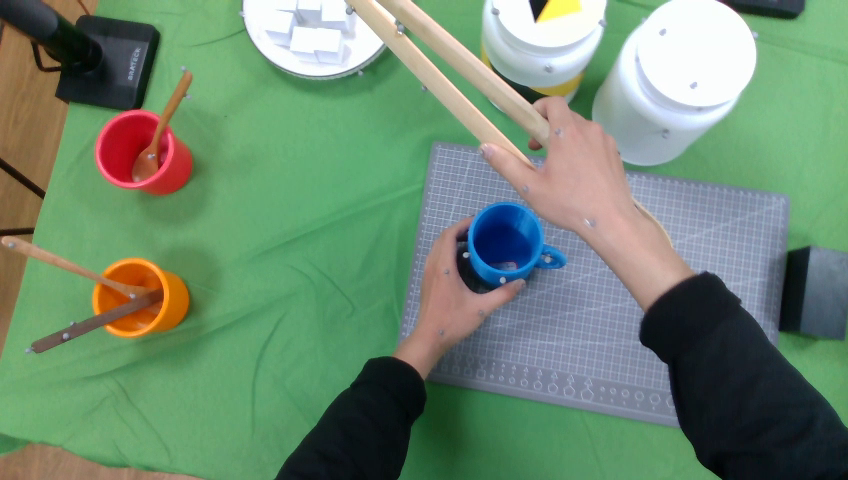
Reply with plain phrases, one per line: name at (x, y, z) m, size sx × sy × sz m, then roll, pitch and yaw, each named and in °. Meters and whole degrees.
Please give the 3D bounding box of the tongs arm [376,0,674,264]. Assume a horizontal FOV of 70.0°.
tongs arm at (0.081, -0.118, 0.558) m, size 0.387 × 0.028 × 0.028 m, roll 43°, pitch 52°, yaw 3°

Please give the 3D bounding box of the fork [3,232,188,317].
fork at (-0.371, 0.041, 0.698) m, size 0.209 × 0.018 × 0.028 m, roll 33°, pitch 80°, yaw -37°

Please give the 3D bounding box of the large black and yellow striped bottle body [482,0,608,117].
large black and yellow striped bottle body at (0.136, -0.232, 0.699) m, size 0.131 × 0.184 × 0.130 m, roll 0°, pitch 81°, yaw 2°

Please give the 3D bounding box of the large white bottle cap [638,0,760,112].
large white bottle cap at (0.273, -0.184, 0.601) m, size 0.115 × 0.018 × 0.114 m, roll 0°, pitch 81°, yaw 2°

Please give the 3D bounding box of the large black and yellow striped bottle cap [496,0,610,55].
large black and yellow striped bottle cap at (0.131, -0.247, 0.617) m, size 0.115 × 0.019 × 0.114 m, roll 0°, pitch 83°, yaw 1°

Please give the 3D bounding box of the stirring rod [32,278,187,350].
stirring rod at (-0.355, 0.082, 0.697) m, size 0.176 × 0.006 × 0.014 m, roll -28°, pitch 82°, yaw -45°

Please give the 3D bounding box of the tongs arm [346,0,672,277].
tongs arm at (0.069, -0.106, 0.547) m, size 0.384 × 0.026 × 0.050 m, roll 47°, pitch 56°, yaw 6°

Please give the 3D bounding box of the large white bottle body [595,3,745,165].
large white bottle body at (0.277, -0.171, 0.684) m, size 0.130 × 0.185 × 0.130 m, roll 0°, pitch 81°, yaw 3°

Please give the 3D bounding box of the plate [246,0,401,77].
plate at (-0.126, -0.310, 0.795) m, size 0.207 × 0.039 × 0.207 m, roll 0°, pitch 82°, yaw 2°

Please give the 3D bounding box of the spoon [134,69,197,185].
spoon at (-0.309, -0.132, 0.723) m, size 0.194 × 0.022 × 0.041 m, roll -44°, pitch 75°, yaw 40°

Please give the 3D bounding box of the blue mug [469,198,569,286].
blue mug at (0.109, 0.010, 0.700) m, size 0.116 × 0.106 × 0.082 m, roll 15°, pitch 79°, yaw 6°
